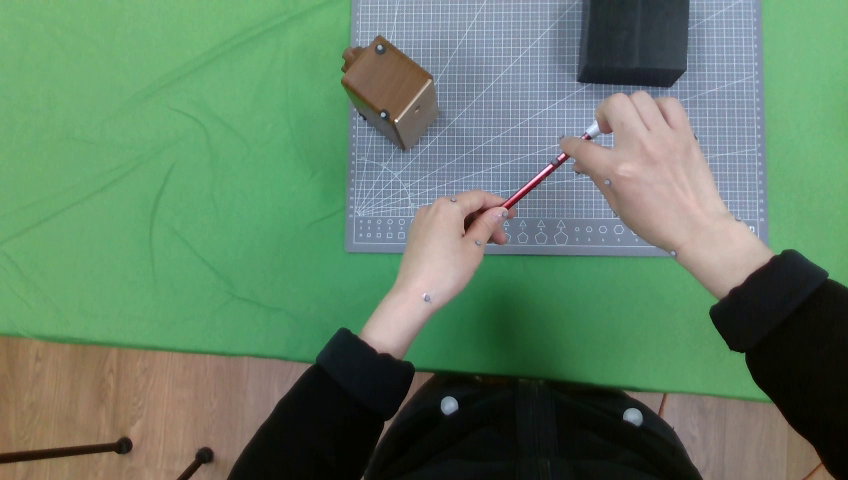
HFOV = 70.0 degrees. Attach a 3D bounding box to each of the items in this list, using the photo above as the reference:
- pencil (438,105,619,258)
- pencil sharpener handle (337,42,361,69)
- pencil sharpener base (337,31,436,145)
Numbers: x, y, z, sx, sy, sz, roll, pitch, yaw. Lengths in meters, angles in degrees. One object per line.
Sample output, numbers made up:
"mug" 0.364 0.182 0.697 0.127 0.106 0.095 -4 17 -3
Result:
"pencil" 0.085 -0.046 0.515 0.194 0.012 0.012 -41 83 11
"pencil sharpener handle" -0.078 -0.185 0.615 0.030 0.068 0.036 39 81 7
"pencil sharpener base" -0.037 -0.153 0.622 0.076 0.107 0.061 39 89 7
